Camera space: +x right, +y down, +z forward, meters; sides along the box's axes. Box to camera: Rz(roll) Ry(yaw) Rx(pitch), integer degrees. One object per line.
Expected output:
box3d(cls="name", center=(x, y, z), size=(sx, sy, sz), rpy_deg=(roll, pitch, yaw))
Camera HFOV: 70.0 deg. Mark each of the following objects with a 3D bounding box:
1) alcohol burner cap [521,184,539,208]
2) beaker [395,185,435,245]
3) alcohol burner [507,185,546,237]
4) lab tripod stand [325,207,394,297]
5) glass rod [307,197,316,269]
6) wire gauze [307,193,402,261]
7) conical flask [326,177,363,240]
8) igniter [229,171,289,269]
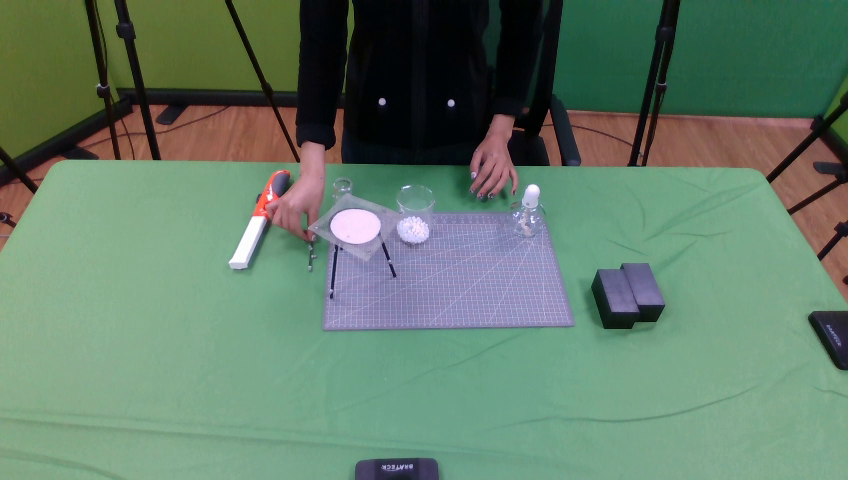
box3d(cls="alcohol burner cap", center=(0.210, -0.087, 1.183), size=(0.034, 0.048, 0.033), rpy_deg=(0, 52, 0))
box3d(cls="beaker", center=(-0.022, -0.048, 1.187), size=(0.074, 0.101, 0.083), rpy_deg=(-28, 53, -28))
box3d(cls="alcohol burner", center=(0.208, -0.063, 1.210), size=(0.078, 0.119, 0.077), rpy_deg=(3, 44, -3))
box3d(cls="lab tripod stand", center=(-0.124, 0.017, 1.092), size=(0.148, 0.132, 0.147), rpy_deg=(3, 44, -3))
box3d(cls="glass rod", center=(-0.224, -0.019, 1.209), size=(0.008, 0.008, 0.198), rpy_deg=(-1, 47, -5))
box3d(cls="wire gauze", center=(-0.118, -0.028, 1.043), size=(0.125, 0.011, 0.121), rpy_deg=(24, 47, 17))
box3d(cls="conical flask", center=(-0.158, -0.064, 1.176), size=(0.075, 0.122, 0.075), rpy_deg=(2, 46, -2))
box3d(cls="igniter", center=(-0.328, -0.049, 1.218), size=(0.057, 0.025, 0.275), rpy_deg=(1, 45, 11))
